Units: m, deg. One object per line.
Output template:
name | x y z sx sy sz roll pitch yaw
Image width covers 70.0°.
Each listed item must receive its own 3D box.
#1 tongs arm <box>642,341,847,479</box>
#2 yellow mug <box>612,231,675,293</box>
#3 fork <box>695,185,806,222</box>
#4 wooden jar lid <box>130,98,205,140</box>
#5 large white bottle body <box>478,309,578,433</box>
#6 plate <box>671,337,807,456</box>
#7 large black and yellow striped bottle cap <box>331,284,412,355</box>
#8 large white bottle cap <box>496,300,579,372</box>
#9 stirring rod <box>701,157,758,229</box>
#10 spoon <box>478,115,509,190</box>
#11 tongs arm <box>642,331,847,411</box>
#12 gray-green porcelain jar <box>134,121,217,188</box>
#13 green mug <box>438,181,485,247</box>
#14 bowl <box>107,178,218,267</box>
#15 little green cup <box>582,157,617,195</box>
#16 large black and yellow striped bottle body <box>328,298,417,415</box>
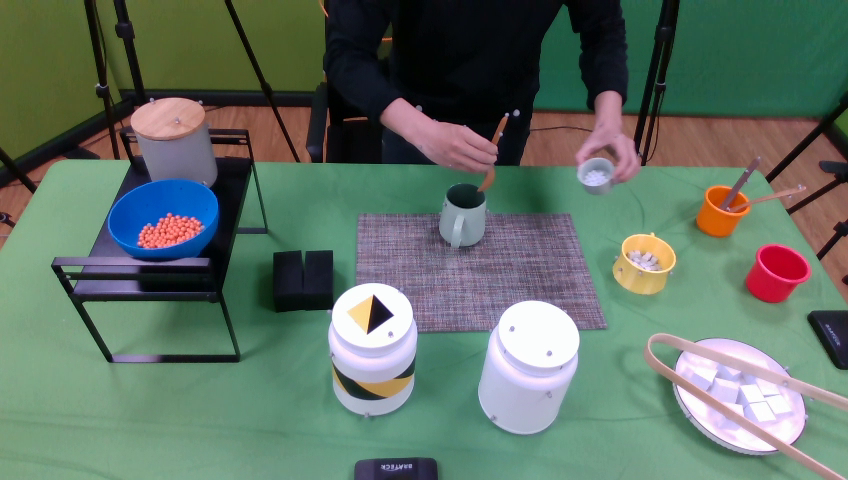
tongs arm | 0.504 0.278 0.917 0.386 0.028 0.028 34 58 22
yellow mug | 0.424 0.033 1.168 0.100 0.064 0.130 18 46 13
fork | 0.658 -0.074 1.230 0.207 0.019 0.028 -23 36 37
wooden jar lid | -0.393 -0.183 0.934 0.108 0.021 0.107 3 43 -2
large white bottle body | 0.156 0.192 0.913 0.131 0.185 0.130 2 46 -2
plate | 0.503 0.254 0.984 0.208 0.039 0.206 2 46 -2
large black and yellow striped bottle cap | -0.073 0.110 0.858 0.115 0.019 0.114 2 46 -2
large white bottle cap | 0.160 0.133 0.852 0.115 0.018 0.114 3 46 -3
stirring rod | 0.634 -0.097 1.257 0.014 0.006 0.176 38 97 30
spoon | 0.117 -0.145 1.029 0.021 0.194 0.041 37 63 18
tongs arm | 0.546 0.227 0.968 0.384 0.026 0.050 22 52 13
gray-green porcelain jar | -0.397 -0.141 0.980 0.106 0.127 0.105 2 47 -2
green mug | 0.072 -0.039 1.178 0.092 0.105 0.124 12 47 7
bowl | -0.374 -0.014 0.893 0.151 0.077 0.150 2 46 -2
little green cup | 0.318 -0.113 1.093 0.061 0.039 0.061 -10 57 17
large black and yellow striped bottle body | -0.078 0.167 0.920 0.131 0.185 0.130 2 46 -2
